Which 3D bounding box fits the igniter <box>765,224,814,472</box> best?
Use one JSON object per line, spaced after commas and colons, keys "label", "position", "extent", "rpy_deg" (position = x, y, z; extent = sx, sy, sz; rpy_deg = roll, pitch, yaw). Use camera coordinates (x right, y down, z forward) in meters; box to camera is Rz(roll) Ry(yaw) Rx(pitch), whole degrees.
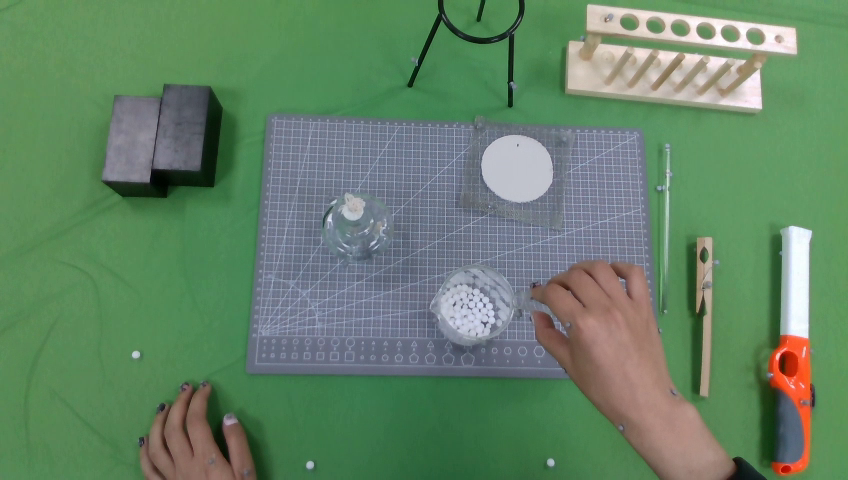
{"label": "igniter", "position": [0.409, 0.116, 0.677], "extent": [0.057, 0.025, 0.275], "rpy_deg": [12, 76, -11]}

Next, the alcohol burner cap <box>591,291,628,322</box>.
{"label": "alcohol burner cap", "position": [0.205, 0.071, 0.664], "extent": [0.034, 0.048, 0.033], "rpy_deg": [1, 76, -3]}

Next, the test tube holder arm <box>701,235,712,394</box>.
{"label": "test tube holder arm", "position": [0.317, 0.082, 0.681], "extent": [0.013, 0.015, 0.177], "rpy_deg": [-5, 73, 33]}

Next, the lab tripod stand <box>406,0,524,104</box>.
{"label": "lab tripod stand", "position": [0.051, -0.226, 0.681], "extent": [0.148, 0.132, 0.147], "rpy_deg": [1, 78, -3]}

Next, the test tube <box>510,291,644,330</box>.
{"label": "test tube", "position": [0.143, 0.065, 0.552], "extent": [0.151, 0.017, 0.017], "rpy_deg": [13, 74, -26]}

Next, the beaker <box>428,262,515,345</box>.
{"label": "beaker", "position": [0.044, 0.070, 0.624], "extent": [0.084, 0.100, 0.073], "rpy_deg": [-6, 76, -4]}

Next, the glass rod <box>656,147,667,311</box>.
{"label": "glass rod", "position": [0.279, -0.015, 0.709], "extent": [0.008, 0.008, 0.199], "rpy_deg": [7, 78, -2]}

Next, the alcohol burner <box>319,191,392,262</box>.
{"label": "alcohol burner", "position": [-0.073, -0.019, 0.630], "extent": [0.078, 0.119, 0.077], "rpy_deg": [0, 75, -1]}

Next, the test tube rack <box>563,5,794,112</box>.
{"label": "test tube rack", "position": [0.296, -0.213, 0.719], "extent": [0.242, 0.085, 0.066], "rpy_deg": [5, 76, -2]}

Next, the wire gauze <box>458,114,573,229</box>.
{"label": "wire gauze", "position": [0.108, -0.084, 0.713], "extent": [0.125, 0.011, 0.121], "rpy_deg": [13, 77, -1]}

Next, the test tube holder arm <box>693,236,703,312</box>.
{"label": "test tube holder arm", "position": [0.315, 0.039, 0.695], "extent": [0.010, 0.015, 0.087], "rpy_deg": [-4, 74, 33]}
